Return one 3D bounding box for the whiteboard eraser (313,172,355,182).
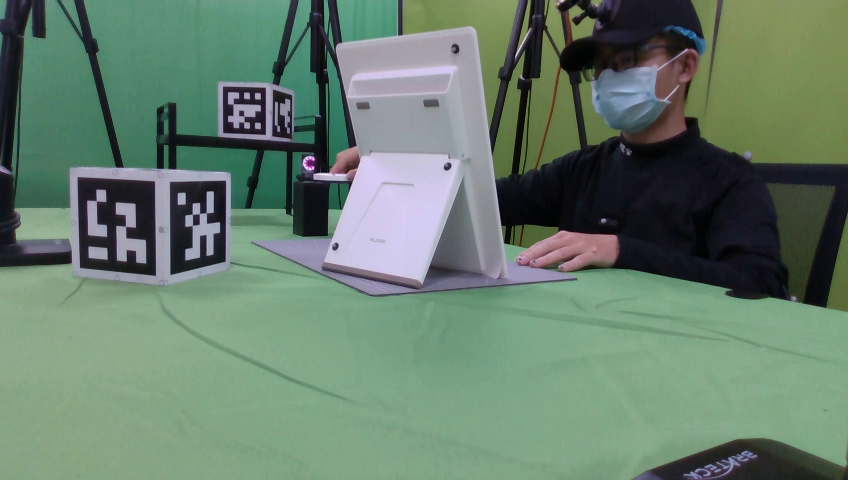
[{"bbox_3d":[-0.166,-0.122,1.166,0.102,0.019,0.041,-2,8,-34],"label":"whiteboard eraser"}]

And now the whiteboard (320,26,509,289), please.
[{"bbox_3d":[-0.045,-0.076,0.721,0.216,0.305,0.144,9,29,39],"label":"whiteboard"}]
